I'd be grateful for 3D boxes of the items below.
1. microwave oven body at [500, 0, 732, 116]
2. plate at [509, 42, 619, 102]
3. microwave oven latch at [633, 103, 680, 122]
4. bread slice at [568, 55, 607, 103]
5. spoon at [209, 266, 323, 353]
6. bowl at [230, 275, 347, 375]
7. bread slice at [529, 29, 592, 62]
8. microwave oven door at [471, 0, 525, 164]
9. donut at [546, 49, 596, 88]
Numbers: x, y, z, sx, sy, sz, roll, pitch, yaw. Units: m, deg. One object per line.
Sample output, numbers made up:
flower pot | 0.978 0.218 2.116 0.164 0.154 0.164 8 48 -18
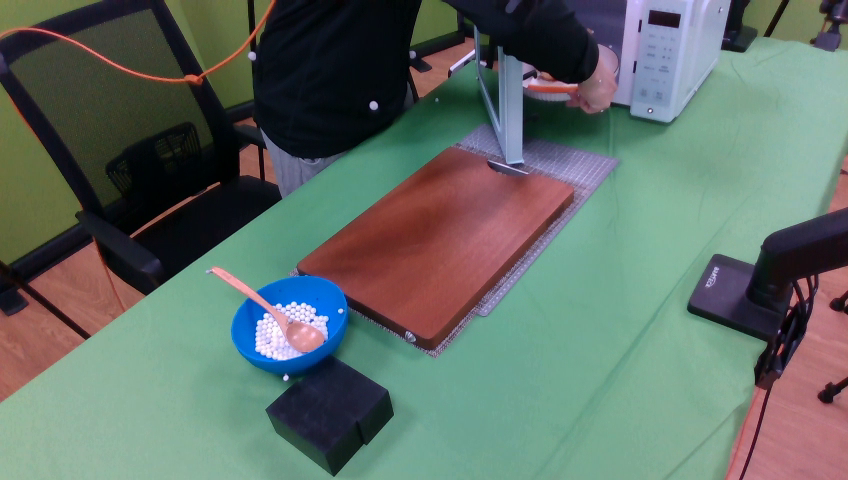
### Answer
microwave oven body | 0.377 -0.462 1.267 0.438 0.261 0.327 21 49 30
plate | 0.271 -0.324 1.177 0.207 0.039 0.206 -7 43 7
microwave oven latch | 0.443 -0.249 1.157 0.078 0.029 0.030 21 48 30
bread slice | 0.304 -0.323 1.201 0.104 0.019 0.131 15 59 39
spoon | -0.213 0.087 0.806 0.193 0.021 0.042 36 56 11
bowl | -0.171 0.125 0.802 0.151 0.077 0.150 -4 40 4
bread slice | 0.260 -0.366 1.138 0.106 0.018 0.134 4 38 17
microwave oven door | 0.136 -0.342 1.153 0.039 0.245 0.353 -9 40 -1
donut | 0.281 -0.330 1.157 0.099 0.048 0.098 -24 33 17
